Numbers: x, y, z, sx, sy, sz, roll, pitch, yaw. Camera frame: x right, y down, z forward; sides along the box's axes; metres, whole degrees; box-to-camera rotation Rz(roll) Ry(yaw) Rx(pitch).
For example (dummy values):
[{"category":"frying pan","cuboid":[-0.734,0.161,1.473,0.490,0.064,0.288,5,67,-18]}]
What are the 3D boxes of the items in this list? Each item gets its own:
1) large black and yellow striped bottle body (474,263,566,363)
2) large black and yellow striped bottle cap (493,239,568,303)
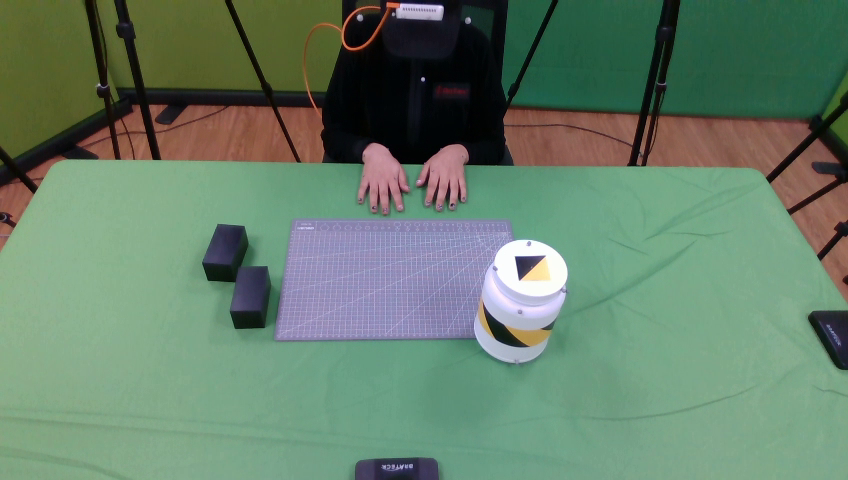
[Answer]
[{"category":"large black and yellow striped bottle body","cuboid":[0.157,0.103,0.994,0.131,0.185,0.130,3,48,-3]},{"category":"large black and yellow striped bottle cap","cuboid":[0.163,0.045,0.932,0.115,0.019,0.114,3,49,-3]}]
